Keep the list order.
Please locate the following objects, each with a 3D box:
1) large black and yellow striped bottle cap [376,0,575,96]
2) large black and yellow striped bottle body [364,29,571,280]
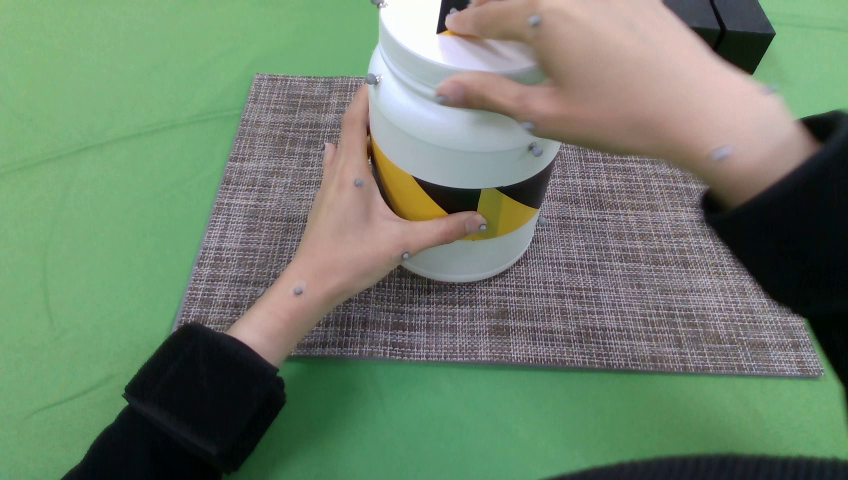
[{"bbox_3d":[0.029,-0.126,0.348,0.115,0.019,0.114,2,54,-3],"label":"large black and yellow striped bottle cap"},{"bbox_3d":[0.025,-0.074,0.415,0.131,0.185,0.129,2,52,-2],"label":"large black and yellow striped bottle body"}]
